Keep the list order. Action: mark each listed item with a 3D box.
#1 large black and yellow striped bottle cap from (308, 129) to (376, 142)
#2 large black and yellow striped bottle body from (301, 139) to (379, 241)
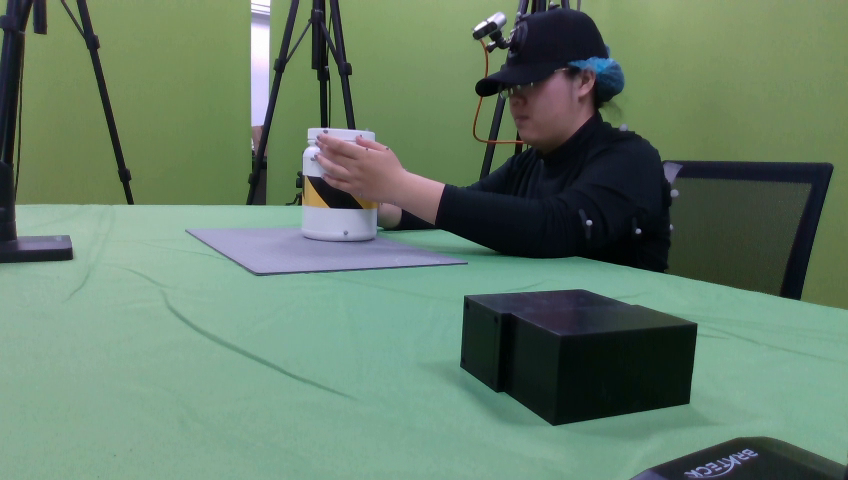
[{"bbox_3d":[-0.140,-0.178,1.034,0.115,0.019,0.115,2,9,0],"label":"large black and yellow striped bottle cap"},{"bbox_3d":[-0.144,-0.095,1.045,0.131,0.184,0.130,3,7,0],"label":"large black and yellow striped bottle body"}]
